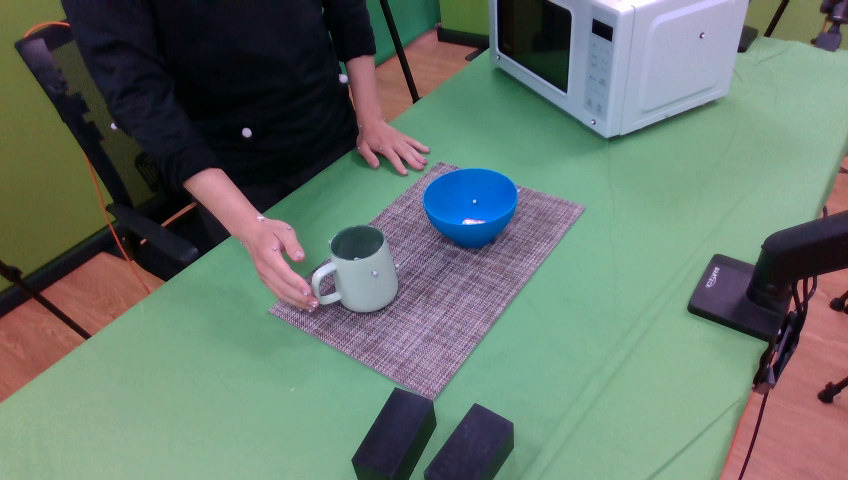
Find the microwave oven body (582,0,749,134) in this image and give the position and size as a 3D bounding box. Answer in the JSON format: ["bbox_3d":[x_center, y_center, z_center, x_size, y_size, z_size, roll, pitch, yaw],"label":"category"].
[{"bbox_3d":[0.382,-0.444,1.246,0.327,0.261,0.437,-22,42,-16],"label":"microwave oven body"}]

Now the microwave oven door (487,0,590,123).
[{"bbox_3d":[0.232,-0.420,1.230,0.039,0.245,0.352,-22,43,-16],"label":"microwave oven door"}]

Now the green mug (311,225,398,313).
[{"bbox_3d":[-0.101,0.050,0.857,0.126,0.105,0.091,-28,45,-23],"label":"green mug"}]

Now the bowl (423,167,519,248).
[{"bbox_3d":[0.075,-0.041,0.959,0.151,0.077,0.150,-4,40,4],"label":"bowl"}]

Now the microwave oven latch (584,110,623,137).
[{"bbox_3d":[0.337,-0.222,1.142,0.030,0.029,0.078,-21,42,-14],"label":"microwave oven latch"}]
